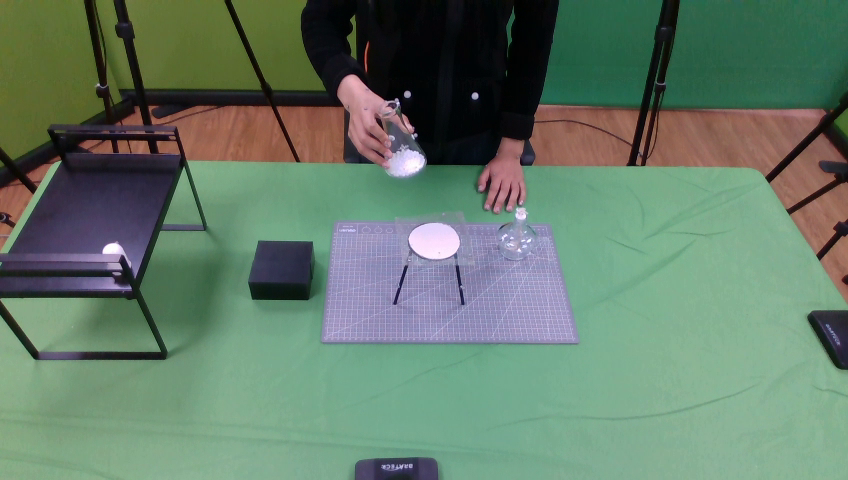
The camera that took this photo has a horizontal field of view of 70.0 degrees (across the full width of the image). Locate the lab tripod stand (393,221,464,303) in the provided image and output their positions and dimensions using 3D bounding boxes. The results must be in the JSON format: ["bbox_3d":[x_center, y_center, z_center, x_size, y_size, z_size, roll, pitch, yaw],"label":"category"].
[{"bbox_3d":[0.010,0.045,1.074,0.148,0.132,0.147,2,48,-2],"label":"lab tripod stand"}]

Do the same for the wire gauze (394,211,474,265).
[{"bbox_3d":[0.015,-0.003,1.028,0.125,0.011,0.120,-4,47,-7],"label":"wire gauze"}]

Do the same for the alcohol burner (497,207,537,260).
[{"bbox_3d":[0.180,-0.019,1.163,0.078,0.120,0.077,1,48,-1],"label":"alcohol burner"}]

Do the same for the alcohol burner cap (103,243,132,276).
[{"bbox_3d":[-0.446,0.025,0.875,0.034,0.048,0.033,3,46,-3],"label":"alcohol burner cap"}]

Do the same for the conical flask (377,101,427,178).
[{"bbox_3d":[-0.044,-0.168,1.001,0.075,0.122,0.075,-10,43,9],"label":"conical flask"}]
